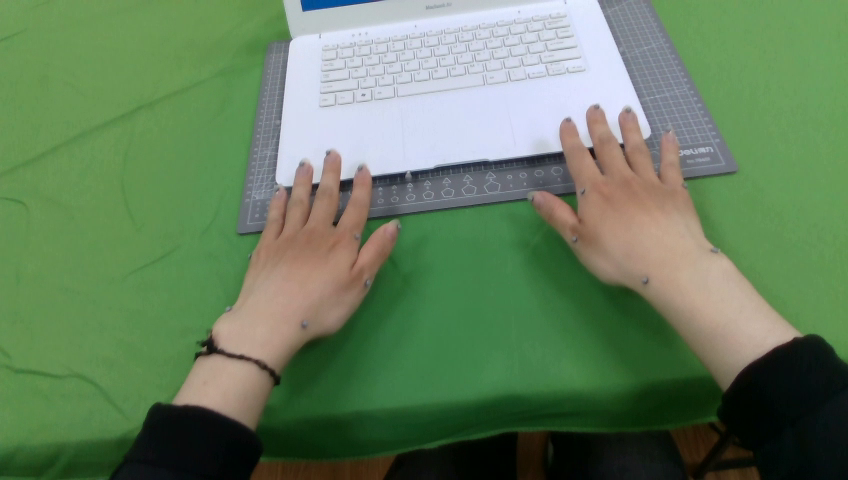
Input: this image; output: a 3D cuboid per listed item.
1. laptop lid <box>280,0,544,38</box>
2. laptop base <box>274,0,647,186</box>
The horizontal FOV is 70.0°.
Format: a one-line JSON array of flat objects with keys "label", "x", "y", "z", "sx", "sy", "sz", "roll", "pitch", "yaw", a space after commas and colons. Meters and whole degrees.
[{"label": "laptop lid", "x": 0.002, "y": -0.357, "z": 0.654, "sx": 0.357, "sy": 0.243, "sz": 0.013, "roll": -9, "pitch": 25, "yaw": 3}, {"label": "laptop base", "x": 0.025, "y": -0.160, "z": 0.633, "sx": 0.354, "sy": 0.023, "sz": 0.233, "roll": -7, "pitch": 55, "yaw": 2}]
